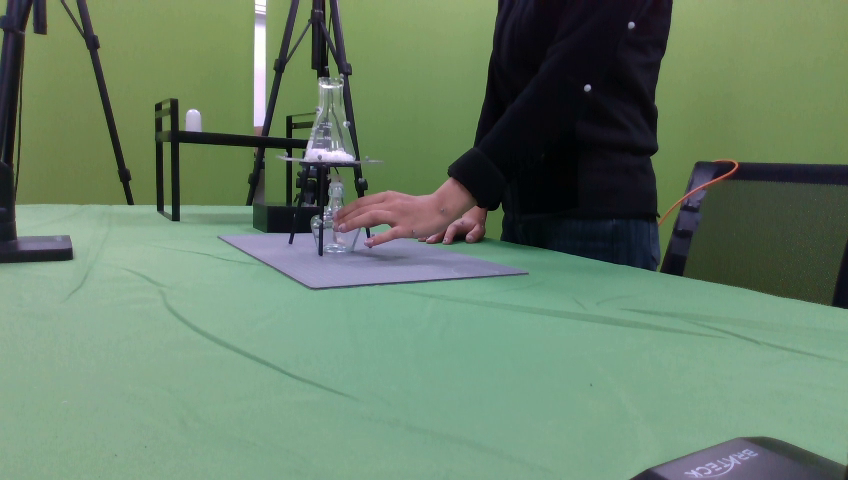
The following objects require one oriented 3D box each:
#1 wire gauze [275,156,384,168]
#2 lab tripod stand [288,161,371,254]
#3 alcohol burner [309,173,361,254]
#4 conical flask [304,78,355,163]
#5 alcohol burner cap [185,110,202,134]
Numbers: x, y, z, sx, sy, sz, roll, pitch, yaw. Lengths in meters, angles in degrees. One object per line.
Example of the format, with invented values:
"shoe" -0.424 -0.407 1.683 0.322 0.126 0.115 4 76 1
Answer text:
"wire gauze" -0.142 -0.116 0.900 0.122 0.011 0.124 -1 5 -37
"lab tripod stand" -0.148 -0.052 0.909 0.148 0.131 0.148 1 8 0
"alcohol burner" -0.132 -0.040 0.900 0.078 0.119 0.078 1 6 0
"conical flask" -0.139 -0.175 0.893 0.075 0.122 0.075 2 8 0
"alcohol burner cap" -0.470 -0.242 1.234 0.034 0.048 0.034 4 7 0
